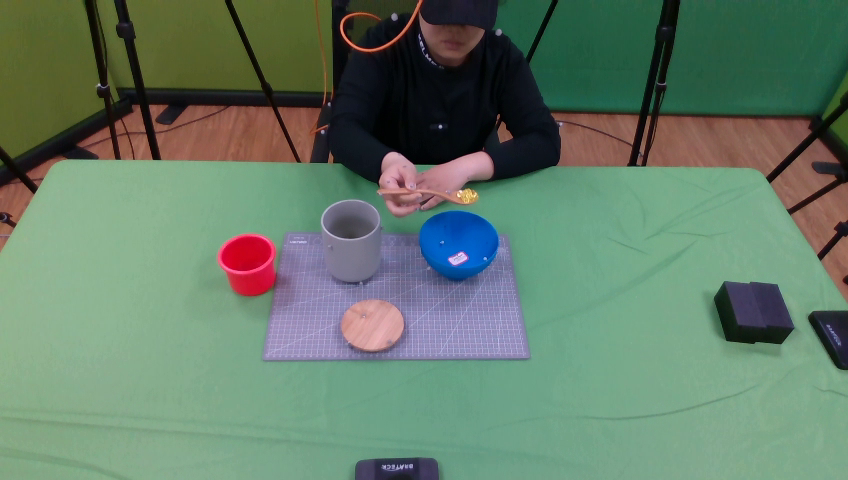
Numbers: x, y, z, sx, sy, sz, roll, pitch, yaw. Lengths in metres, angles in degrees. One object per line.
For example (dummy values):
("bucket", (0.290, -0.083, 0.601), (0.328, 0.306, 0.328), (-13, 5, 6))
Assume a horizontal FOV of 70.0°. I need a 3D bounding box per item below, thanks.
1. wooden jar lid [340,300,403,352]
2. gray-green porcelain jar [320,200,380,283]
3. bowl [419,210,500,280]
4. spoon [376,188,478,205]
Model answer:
("wooden jar lid", (-0.090, 0.150, 1.046), (0.108, 0.021, 0.107), (3, 47, -3))
("gray-green porcelain jar", (-0.132, 0.007, 1.106), (0.106, 0.127, 0.105), (2, 46, -2))
("bowl", (0.062, 0.022, 1.140), (0.151, 0.077, 0.150), (2, 46, -2))
("spoon", (0.008, -0.080, 1.045), (0.194, 0.022, 0.041), (4, 38, -28))
